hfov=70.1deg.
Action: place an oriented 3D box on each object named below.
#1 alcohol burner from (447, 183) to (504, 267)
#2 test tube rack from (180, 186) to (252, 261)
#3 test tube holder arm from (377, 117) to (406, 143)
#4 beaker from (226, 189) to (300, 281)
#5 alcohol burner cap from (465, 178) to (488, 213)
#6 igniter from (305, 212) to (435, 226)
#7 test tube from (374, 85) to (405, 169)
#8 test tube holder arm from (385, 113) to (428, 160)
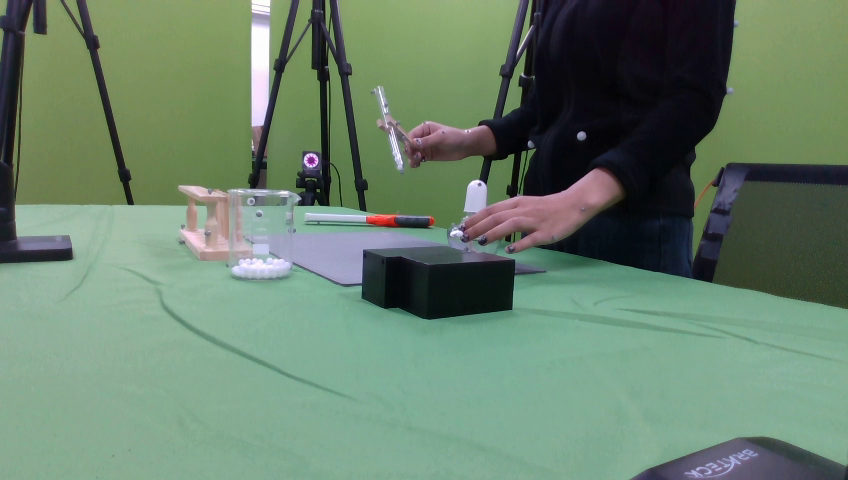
[{"bbox_3d":[0.071,-0.024,0.827,0.078,0.119,0.078,0,7,0],"label":"alcohol burner"},{"bbox_3d":[-0.312,-0.031,0.893,0.067,0.085,0.241,-1,8,-27],"label":"test tube rack"},{"bbox_3d":[-0.051,-0.182,1.005,0.010,0.015,0.088,-22,-20,24],"label":"test tube holder arm"},{"bbox_3d":[-0.184,-0.007,0.694,0.084,0.100,0.073,-1,8,-29],"label":"beaker"},{"bbox_3d":[0.074,-0.060,0.824,0.034,0.048,0.034,6,3,0],"label":"alcohol burner cap"},{"bbox_3d":[-0.114,-0.046,1.296,0.277,0.025,0.057,1,-2,-11],"label":"igniter"},{"bbox_3d":[-0.055,-0.184,0.982,0.017,0.150,0.017,-15,-14,-4],"label":"test tube"},{"bbox_3d":[-0.027,-0.175,1.043,0.013,0.015,0.179,-19,-19,17],"label":"test tube holder arm"}]
